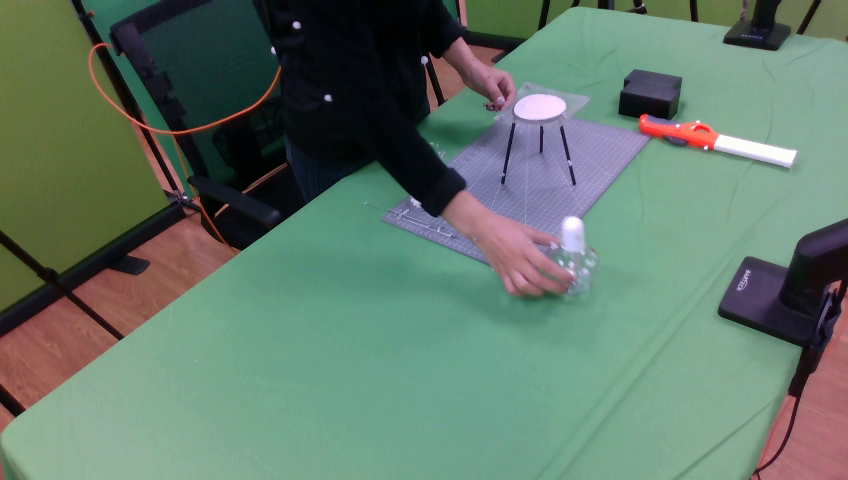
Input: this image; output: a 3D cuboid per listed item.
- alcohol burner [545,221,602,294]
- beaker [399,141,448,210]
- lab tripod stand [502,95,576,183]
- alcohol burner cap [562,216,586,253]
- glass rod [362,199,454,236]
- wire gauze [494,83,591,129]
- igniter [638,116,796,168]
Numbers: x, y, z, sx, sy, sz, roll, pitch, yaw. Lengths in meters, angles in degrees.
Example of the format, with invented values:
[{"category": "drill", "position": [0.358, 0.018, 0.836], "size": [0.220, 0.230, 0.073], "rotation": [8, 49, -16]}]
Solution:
[{"category": "alcohol burner", "position": [0.207, 0.017, 0.836], "size": [0.078, 0.119, 0.077], "rotation": [-5, 42, 5]}, {"category": "beaker", "position": [0.003, -0.108, 1.043], "size": [0.074, 0.101, 0.083], "rotation": [-19, 42, -10]}, {"category": "lab tripod stand", "position": [0.204, -0.174, 1.056], "size": [0.148, 0.132, 0.147], "rotation": [-4, 40, 4]}, {"category": "alcohol burner cap", "position": [0.201, -0.010, 0.812], "size": [0.034, 0.048, 0.033], "rotation": [-8, 36, 7]}, {"category": "glass rod", "position": [-0.031, -0.041, 1.040], "size": [0.198, 0.008, 0.008], "rotation": [22, 50, 31]}, {"category": "wire gauze", "position": [0.198, -0.224, 1.012], "size": [0.120, 0.011, 0.125], "rotation": [20, 48, 28]}, {"category": "igniter", "position": [0.517, -0.181, 1.093], "size": [0.274, 0.025, 0.057], "rotation": [23, 65, 32]}]
